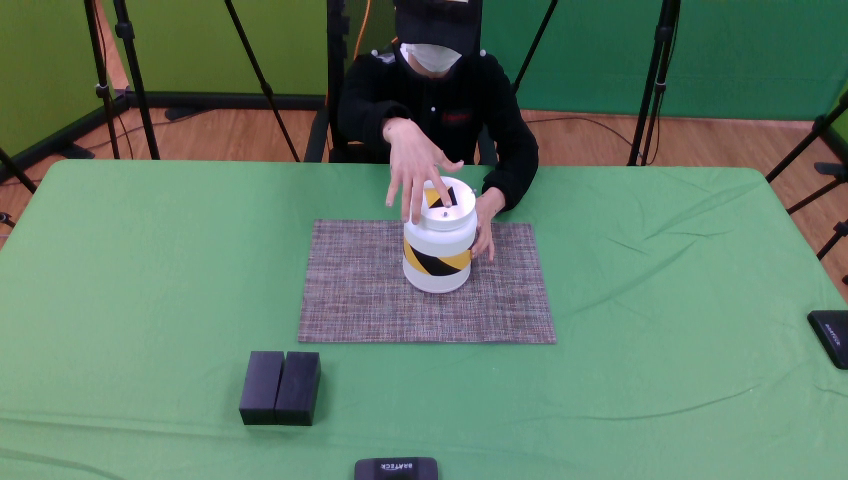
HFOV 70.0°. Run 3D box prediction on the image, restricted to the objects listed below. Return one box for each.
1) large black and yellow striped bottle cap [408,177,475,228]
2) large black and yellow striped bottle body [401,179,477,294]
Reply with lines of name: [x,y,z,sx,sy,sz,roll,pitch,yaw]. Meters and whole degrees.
large black and yellow striped bottle cap: [0.029,-0.065,1.028,0.115,0.019,0.114,2,44,-2]
large black and yellow striped bottle body: [0.025,-0.007,1.089,0.131,0.185,0.130,2,46,-2]
